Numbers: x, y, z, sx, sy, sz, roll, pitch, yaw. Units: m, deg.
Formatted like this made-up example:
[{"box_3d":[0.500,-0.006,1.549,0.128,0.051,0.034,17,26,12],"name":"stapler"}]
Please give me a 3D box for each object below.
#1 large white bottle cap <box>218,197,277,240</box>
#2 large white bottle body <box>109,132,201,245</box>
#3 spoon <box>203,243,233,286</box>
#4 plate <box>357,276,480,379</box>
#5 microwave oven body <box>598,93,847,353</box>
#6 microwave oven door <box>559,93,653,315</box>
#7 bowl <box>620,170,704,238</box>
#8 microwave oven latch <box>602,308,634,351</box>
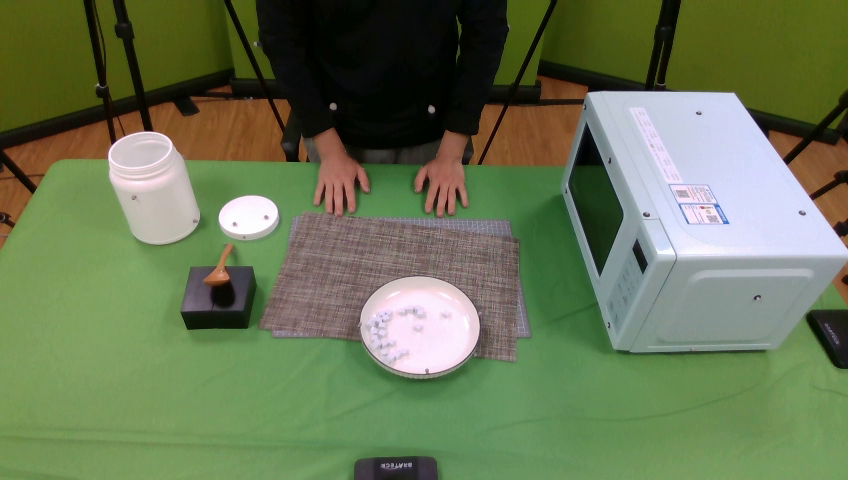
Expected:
[{"box_3d":[-0.354,-0.045,1.220,0.115,0.018,0.114,2,45,-2],"name":"large white bottle cap"},{"box_3d":[-0.506,-0.097,1.141,0.131,0.185,0.130,2,46,-2],"name":"large white bottle body"},{"box_3d":[-0.360,0.039,1.087,0.041,0.022,0.192,-5,24,-7],"name":"spoon"},{"box_3d":[-0.010,0.151,1.038,0.209,0.038,0.208,2,47,-2],"name":"plate"},{"box_3d":[0.475,-0.041,1.109,0.326,0.261,0.438,-1,45,-4],"name":"microwave oven body"},{"box_3d":[0.327,-0.074,1.123,0.039,0.245,0.353,-1,46,-5],"name":"microwave oven door"},{"box_3d":[0.445,-0.057,1.166,0.151,0.077,0.150,2,46,-2],"name":"bowl"},{"box_3d":[0.332,0.153,1.043,0.030,0.029,0.078,-1,45,-4],"name":"microwave oven latch"}]
